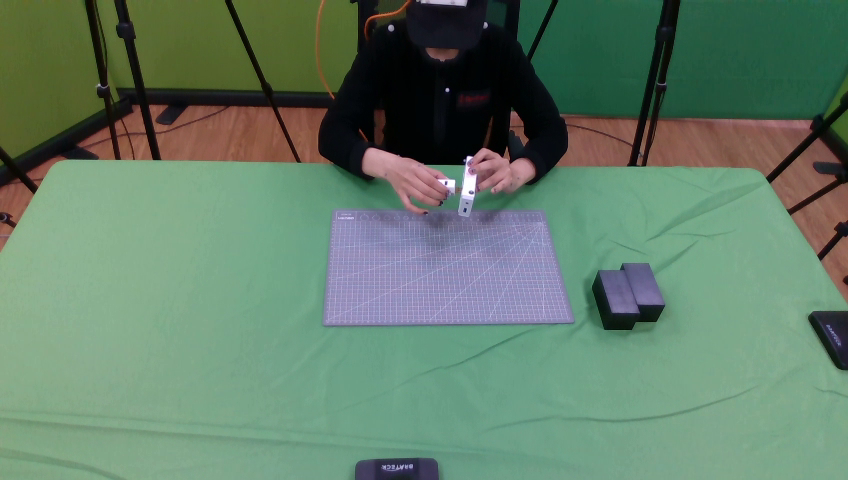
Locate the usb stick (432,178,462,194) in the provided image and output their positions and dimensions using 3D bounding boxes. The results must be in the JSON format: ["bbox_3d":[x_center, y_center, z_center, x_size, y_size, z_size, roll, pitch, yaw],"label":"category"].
[{"bbox_3d":[0.046,-0.105,1.183,0.059,0.027,0.021,8,63,2],"label":"usb stick"}]

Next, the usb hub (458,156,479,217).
[{"bbox_3d":[0.087,-0.106,1.183,0.025,0.050,0.124,11,48,-1],"label":"usb hub"}]
